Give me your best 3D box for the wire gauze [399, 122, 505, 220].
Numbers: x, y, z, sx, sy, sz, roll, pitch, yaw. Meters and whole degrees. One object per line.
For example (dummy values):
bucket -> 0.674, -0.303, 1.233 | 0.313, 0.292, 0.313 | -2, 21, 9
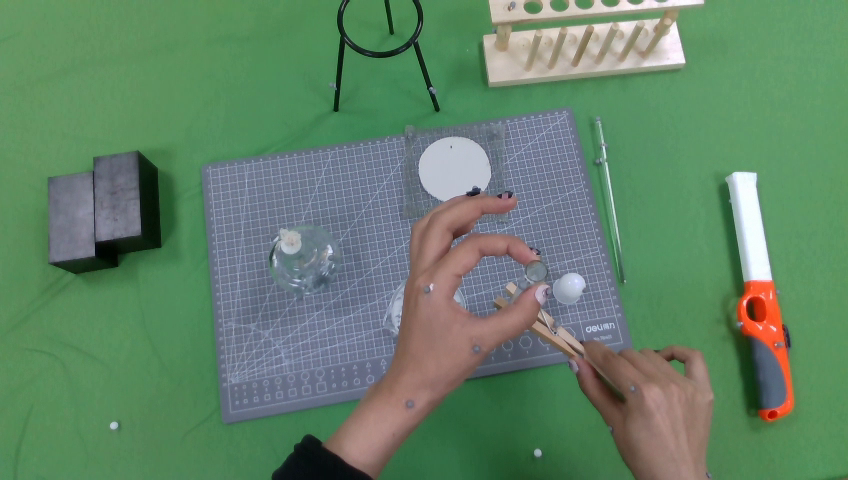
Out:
wire gauze -> 0.033, -0.084, 0.716 | 0.125, 0.011, 0.121 | 2, 76, 0

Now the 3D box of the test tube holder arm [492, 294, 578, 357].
test tube holder arm -> 0.099, 0.076, 0.538 | 0.087, 0.015, 0.010 | 31, 78, 17

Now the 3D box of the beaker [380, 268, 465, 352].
beaker -> -0.001, 0.078, 0.626 | 0.084, 0.101, 0.073 | -17, 75, -4

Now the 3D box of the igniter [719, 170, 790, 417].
igniter -> 0.366, 0.053, 0.673 | 0.057, 0.025, 0.275 | 1, 75, -10

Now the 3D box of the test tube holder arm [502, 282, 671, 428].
test tube holder arm -> 0.137, 0.097, 0.525 | 0.177, 0.015, 0.013 | 39, 82, 19

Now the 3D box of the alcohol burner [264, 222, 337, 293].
alcohol burner -> -0.133, 0.014, 0.635 | 0.078, 0.120, 0.077 | -1, 74, 3

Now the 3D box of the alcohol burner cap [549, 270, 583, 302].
alcohol burner cap -> 0.158, 0.048, 0.664 | 0.034, 0.048, 0.033 | 0, 75, 0

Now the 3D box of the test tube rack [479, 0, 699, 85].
test tube rack -> 0.192, -0.247, 0.722 | 0.242, 0.085, 0.066 | -6, 75, -1

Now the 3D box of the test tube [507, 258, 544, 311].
test tube -> 0.076, 0.038, 0.468 | 0.017, 0.151, 0.017 | -1, 75, 4

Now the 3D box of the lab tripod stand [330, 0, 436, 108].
lab tripod stand -> -0.051, -0.212, 0.688 | 0.148, 0.132, 0.147 | 0, 77, 0

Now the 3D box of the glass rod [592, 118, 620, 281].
glass rod -> 0.213, -0.050, 0.709 | 0.008, 0.008, 0.198 | -4, 78, -1
